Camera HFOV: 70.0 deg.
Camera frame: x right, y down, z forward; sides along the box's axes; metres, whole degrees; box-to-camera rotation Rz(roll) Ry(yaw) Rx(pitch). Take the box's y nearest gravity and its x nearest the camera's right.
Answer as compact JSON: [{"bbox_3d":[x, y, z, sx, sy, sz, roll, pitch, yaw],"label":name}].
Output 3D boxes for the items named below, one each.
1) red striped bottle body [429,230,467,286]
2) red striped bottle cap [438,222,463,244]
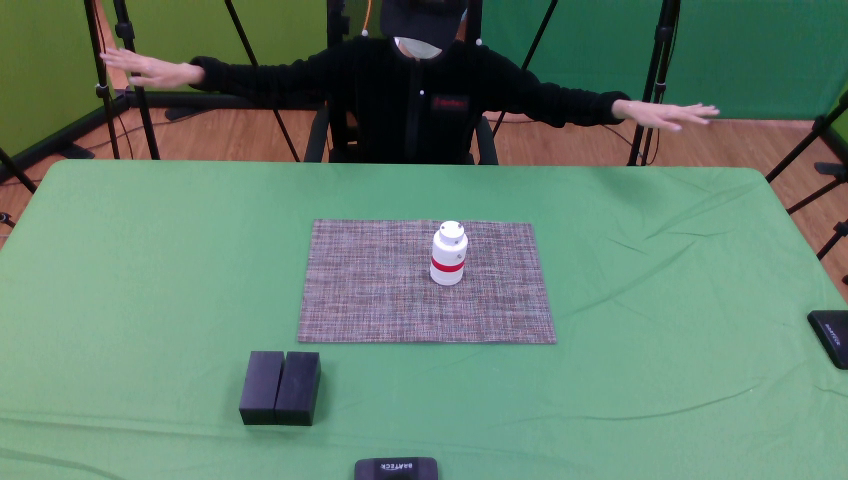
[{"bbox_3d":[0.044,0.024,1.105,0.063,0.120,0.062,3,45,-3],"label":"red striped bottle body"},{"bbox_3d":[0.047,-0.013,1.067,0.044,0.018,0.044,2,43,-1],"label":"red striped bottle cap"}]
